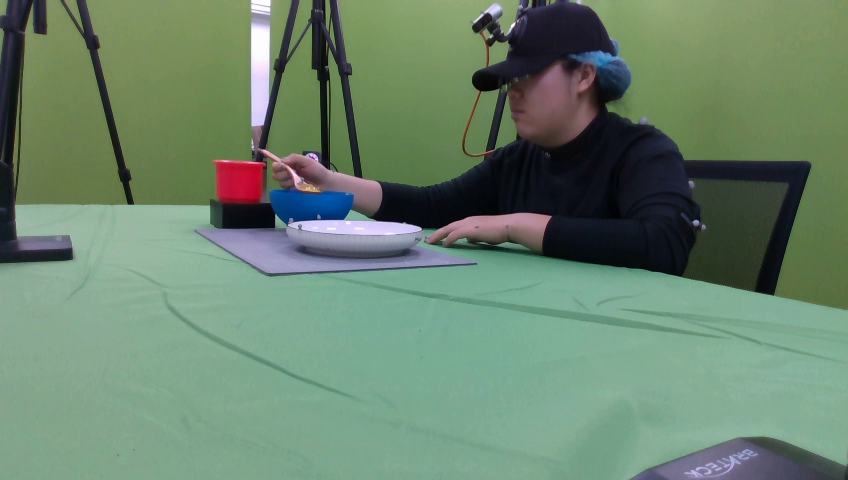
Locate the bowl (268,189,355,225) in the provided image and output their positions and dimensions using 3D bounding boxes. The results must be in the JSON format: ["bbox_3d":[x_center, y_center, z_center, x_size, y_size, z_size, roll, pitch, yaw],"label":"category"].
[{"bbox_3d":[-0.201,-0.048,1.079,0.151,0.077,0.151,3,8,0],"label":"bowl"}]

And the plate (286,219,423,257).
[{"bbox_3d":[-0.105,-0.004,0.922,0.208,0.039,0.207,3,8,0],"label":"plate"}]

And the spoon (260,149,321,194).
[{"bbox_3d":[-0.251,-0.128,1.120,0.042,0.021,0.193,-5,36,-45],"label":"spoon"}]
